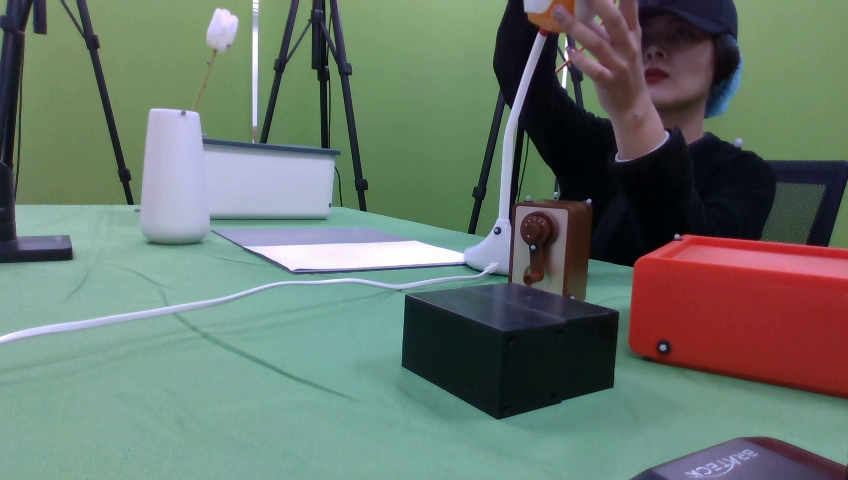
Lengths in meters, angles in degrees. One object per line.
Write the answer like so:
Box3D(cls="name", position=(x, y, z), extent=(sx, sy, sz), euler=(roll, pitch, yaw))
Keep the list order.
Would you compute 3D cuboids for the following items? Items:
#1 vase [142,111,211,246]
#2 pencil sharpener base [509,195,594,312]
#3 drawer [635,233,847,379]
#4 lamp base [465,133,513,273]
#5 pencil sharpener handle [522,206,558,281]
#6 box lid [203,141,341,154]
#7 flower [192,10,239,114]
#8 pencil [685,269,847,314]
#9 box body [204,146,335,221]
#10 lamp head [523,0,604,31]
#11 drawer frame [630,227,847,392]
Box3D(cls="vase", position=(-0.378, -0.093, 0.920), extent=(0.098, 0.200, 0.098), euler=(2, 9, 0))
Box3D(cls="pencil sharpener base", position=(0.126, 0.011, 0.601), extent=(0.061, 0.107, 0.077), euler=(7, 9, 30))
Box3D(cls="drawer", position=(0.292, 0.045, 0.488), extent=(0.193, 0.073, 0.213), euler=(7, 9, 30))
Box3D(cls="lamp base", position=(0.133, -0.052, 0.809), extent=(0.160, 0.180, 0.180), euler=(6, 12, 26))
Box3D(cls="pencil sharpener handle", position=(0.102, 0.003, 0.555), extent=(0.036, 0.067, 0.031), euler=(0, 5, 31))
Box3D(cls="box lid", position=(-0.396, -0.212, 1.373), extent=(0.373, 0.015, 0.262), euler=(-1, 9, -29))
Box3D(cls="flower", position=(-0.354, -0.174, 0.915), extent=(0.038, 0.361, 0.044), euler=(18, -3, 12))
Box3D(cls="pencil", position=(0.308, 0.046, 0.516), extent=(0.194, 0.012, 0.012), euler=(13, 5, -11))
Box3D(cls="box body", position=(-0.411, -0.135, 1.386), extent=(0.366, 0.160, 0.253), euler=(-2, 9, -29))
Box3D(cls="lamp head", position=(0.149, -0.283, 0.629), extent=(0.112, 0.123, 0.112), euler=(13, 18, -4))
Box3D(cls="drawer frame", position=(0.292, 0.043, 0.484), extent=(0.201, 0.082, 0.214), euler=(7, 9, 29))
